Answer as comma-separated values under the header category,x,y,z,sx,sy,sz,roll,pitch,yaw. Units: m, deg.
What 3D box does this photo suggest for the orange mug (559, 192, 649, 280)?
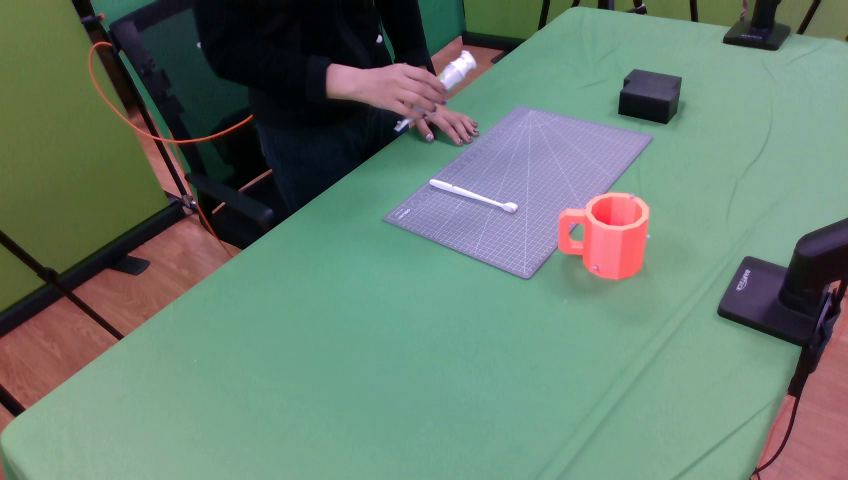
category,x,y,z,sx,sy,sz,roll,pitch,yaw
orange mug,0.261,-0.008,0.884,0.126,0.101,0.083,9,43,14

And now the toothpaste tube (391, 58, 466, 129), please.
category,x,y,z,sx,sy,sz,roll,pitch,yaw
toothpaste tube,0.008,-0.246,1.017,0.165,0.034,0.055,-42,14,1

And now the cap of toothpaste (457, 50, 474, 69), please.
category,x,y,z,sx,sy,sz,roll,pitch,yaw
cap of toothpaste,0.068,-0.301,1.013,0.011,0.037,0.037,-41,47,-9

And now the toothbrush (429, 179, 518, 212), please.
category,x,y,z,sx,sy,sz,roll,pitch,yaw
toothbrush,0.084,-0.081,1.062,0.180,0.014,0.017,21,44,30
